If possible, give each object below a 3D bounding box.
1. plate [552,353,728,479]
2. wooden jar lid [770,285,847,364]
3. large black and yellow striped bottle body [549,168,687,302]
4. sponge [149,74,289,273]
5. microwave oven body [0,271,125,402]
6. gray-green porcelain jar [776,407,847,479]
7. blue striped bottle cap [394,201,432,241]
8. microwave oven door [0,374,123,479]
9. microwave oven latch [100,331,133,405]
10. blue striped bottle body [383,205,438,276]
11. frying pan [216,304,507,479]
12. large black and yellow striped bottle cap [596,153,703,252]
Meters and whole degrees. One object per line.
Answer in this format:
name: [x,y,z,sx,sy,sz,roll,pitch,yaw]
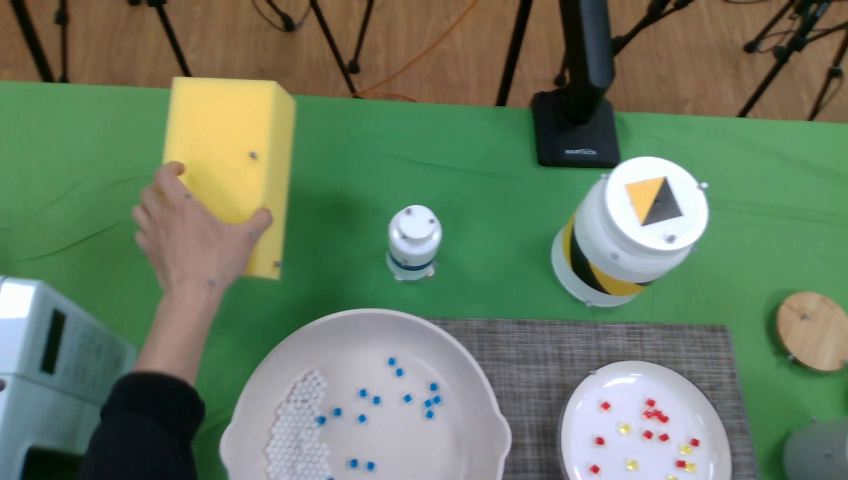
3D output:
plate: [0.251,0.239,0.719,0.209,0.038,0.207,2,68,-5]
wooden jar lid: [0.514,0.114,0.812,0.108,0.021,0.107,2,70,-5]
large black and yellow striped bottle body: [0.239,-0.011,0.742,0.131,0.185,0.130,2,67,-5]
sponge: [-0.221,-0.071,0.661,0.118,0.061,0.206,2,84,7]
microwave oven body: [-0.483,0.264,0.504,0.326,0.261,0.438,2,69,-6]
gray-green porcelain jar: [0.485,0.250,0.697,0.106,0.127,0.105,2,68,-5]
blue striped bottle cap: [-0.012,-0.022,0.695,0.044,0.021,0.044,2,65,-4]
microwave oven door: [-0.337,0.306,0.498,0.039,0.245,0.353,2,68,-5]
microwave oven latch: [-0.345,0.142,0.672,0.030,0.029,0.078,4,69,-5]
blue striped bottle body: [-0.017,-0.004,0.743,0.063,0.121,0.062,2,68,-5]
frying pan: [-0.062,0.308,0.621,0.307,0.103,0.483,0,60,-4]
large black and yellow striped bottle cap: [0.247,-0.043,0.663,0.115,0.019,0.114,2,67,-5]
